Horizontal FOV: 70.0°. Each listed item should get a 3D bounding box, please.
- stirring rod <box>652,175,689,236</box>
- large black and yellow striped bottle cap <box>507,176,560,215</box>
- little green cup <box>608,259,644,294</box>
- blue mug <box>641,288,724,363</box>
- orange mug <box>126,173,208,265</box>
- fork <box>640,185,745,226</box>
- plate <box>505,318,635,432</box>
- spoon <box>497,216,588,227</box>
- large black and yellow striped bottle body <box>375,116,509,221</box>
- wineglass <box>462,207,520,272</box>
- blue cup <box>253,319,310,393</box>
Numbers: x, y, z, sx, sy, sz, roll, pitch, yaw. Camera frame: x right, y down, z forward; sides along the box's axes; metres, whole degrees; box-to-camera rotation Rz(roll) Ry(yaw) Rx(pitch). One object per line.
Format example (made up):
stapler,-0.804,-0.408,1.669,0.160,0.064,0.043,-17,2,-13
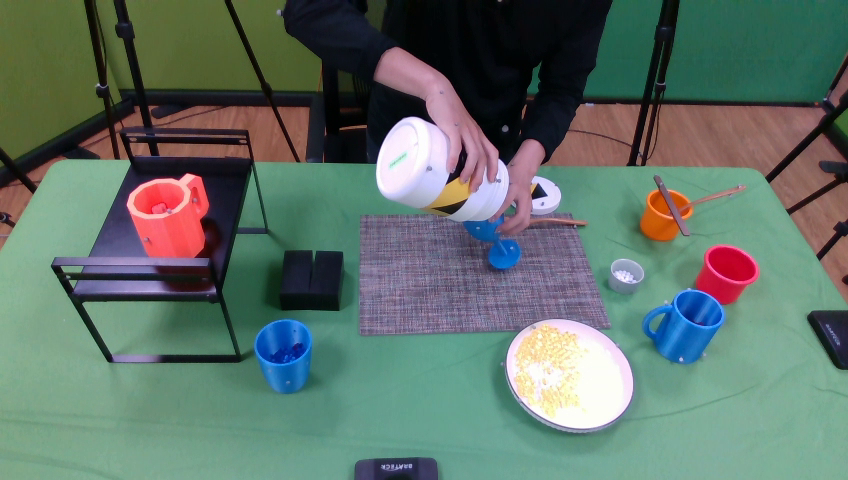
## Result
stirring rod,0.491,-0.072,1.211,0.014,0.006,0.175,0,46,-6
large black and yellow striped bottle cap,0.237,-0.098,1.312,0.115,0.019,0.114,2,43,-1
little green cup,0.379,0.070,1.147,0.061,0.039,0.061,3,45,-3
blue mug,0.432,0.144,1.033,0.116,0.106,0.082,9,46,5
orange mug,-0.371,-0.039,0.902,0.083,0.101,0.126,18,52,13
fork,0.534,-0.069,1.215,0.207,0.019,0.028,-26,28,33
plate,0.235,0.221,0.991,0.209,0.038,0.208,2,45,-2
spoon,0.246,-0.039,1.247,0.194,0.022,0.041,-2,25,-6
large black and yellow striped bottle body,0.031,-0.105,0.950,0.185,0.131,0.130,16,37,-35
wineglass,0.120,-0.017,1.090,0.073,0.173,0.073,-13,55,19
blue cup,-0.217,0.187,0.943,0.093,0.101,0.092,3,45,-3
